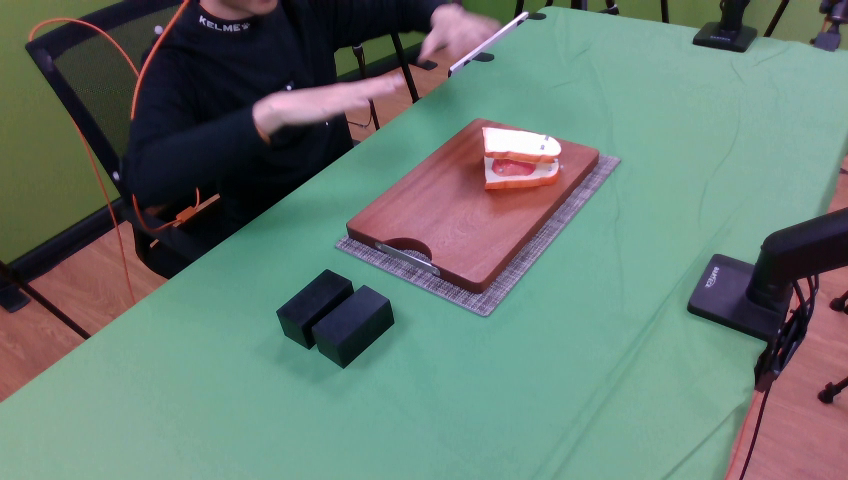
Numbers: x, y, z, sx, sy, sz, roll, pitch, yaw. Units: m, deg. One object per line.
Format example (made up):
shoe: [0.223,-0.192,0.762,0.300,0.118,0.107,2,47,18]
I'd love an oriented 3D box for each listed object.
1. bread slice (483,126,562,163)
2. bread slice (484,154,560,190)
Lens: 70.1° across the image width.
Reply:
bread slice: [0.166,-0.161,1.025,0.134,0.018,0.106,5,33,-4]
bread slice: [0.170,-0.128,1.053,0.131,0.019,0.104,-4,42,4]
